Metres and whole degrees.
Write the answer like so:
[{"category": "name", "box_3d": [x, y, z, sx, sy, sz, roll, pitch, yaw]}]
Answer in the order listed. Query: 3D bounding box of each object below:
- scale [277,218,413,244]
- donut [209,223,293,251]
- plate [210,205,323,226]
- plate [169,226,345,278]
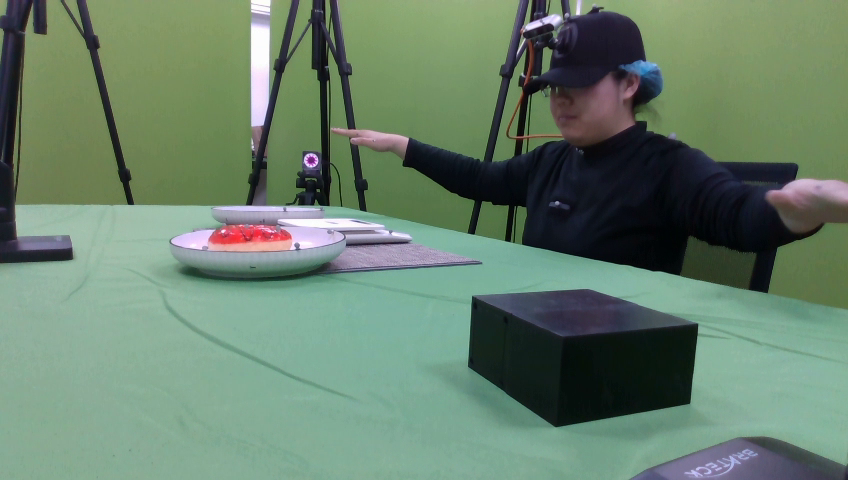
[{"category": "scale", "box_3d": [-0.134, -0.016, 1.015, 0.202, 0.031, 0.148, -2, 9, -33]}, {"category": "donut", "box_3d": [-0.210, 0.004, 0.738, 0.099, 0.048, 0.099, 0, 8, 0]}, {"category": "plate", "box_3d": [-0.298, -0.043, 1.152, 0.208, 0.039, 0.207, 2, 5, 0]}, {"category": "plate", "box_3d": [-0.202, 0.014, 0.748, 0.209, 0.038, 0.209, 1, 9, 0]}]
